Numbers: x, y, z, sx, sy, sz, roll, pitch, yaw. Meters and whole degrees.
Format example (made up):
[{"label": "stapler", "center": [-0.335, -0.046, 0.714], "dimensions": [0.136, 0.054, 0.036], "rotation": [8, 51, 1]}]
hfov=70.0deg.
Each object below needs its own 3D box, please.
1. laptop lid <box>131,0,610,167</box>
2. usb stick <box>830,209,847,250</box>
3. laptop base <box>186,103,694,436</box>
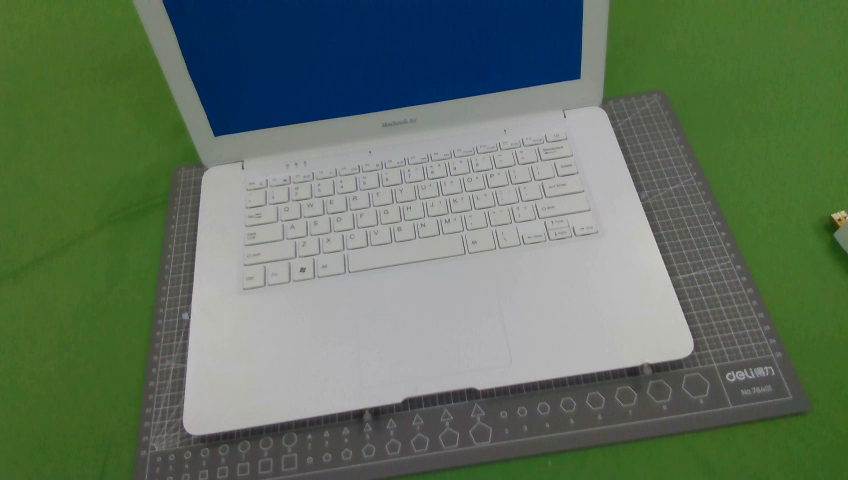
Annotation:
[{"label": "laptop lid", "center": [-0.033, -0.177, 0.458], "dimensions": [0.357, 0.244, 0.013], "rotation": [-10, 40, 1]}, {"label": "usb stick", "center": [0.322, -0.002, 0.440], "dimensions": [0.021, 0.027, 0.058], "rotation": [-18, 56, -3]}, {"label": "laptop base", "center": [-0.003, 0.010, 0.472], "dimensions": [0.354, 0.023, 0.233], "rotation": [-9, 61, 1]}]
